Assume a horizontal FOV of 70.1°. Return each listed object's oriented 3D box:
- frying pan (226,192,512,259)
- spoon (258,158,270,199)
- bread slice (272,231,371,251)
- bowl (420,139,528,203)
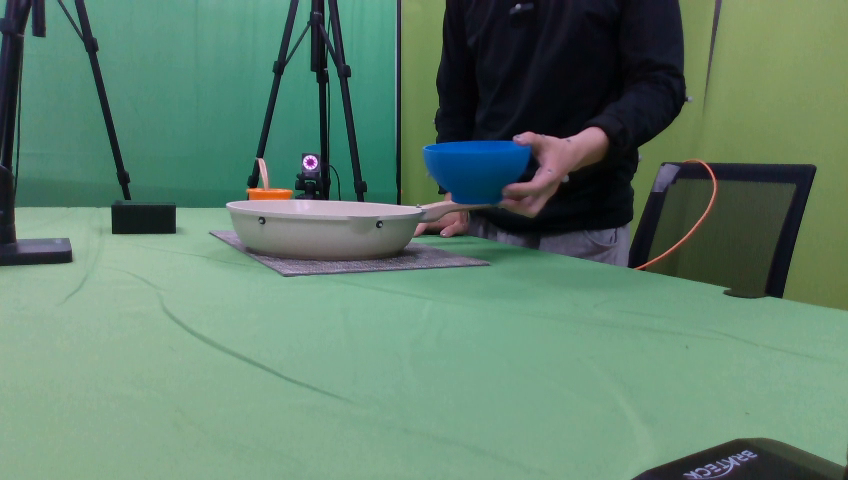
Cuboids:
[{"bbox_3d":[-0.058,-0.041,0.975,0.490,0.102,0.305,-11,13,-26],"label":"frying pan"},{"bbox_3d":[-0.332,-0.107,1.269,0.042,0.021,0.193,0,52,-24],"label":"spoon"},{"bbox_3d":[-0.148,0.001,0.929,0.133,0.018,0.107,6,8,38],"label":"bread slice"},{"bbox_3d":[0.070,-0.096,0.844,0.151,0.077,0.151,-3,13,1],"label":"bowl"}]
